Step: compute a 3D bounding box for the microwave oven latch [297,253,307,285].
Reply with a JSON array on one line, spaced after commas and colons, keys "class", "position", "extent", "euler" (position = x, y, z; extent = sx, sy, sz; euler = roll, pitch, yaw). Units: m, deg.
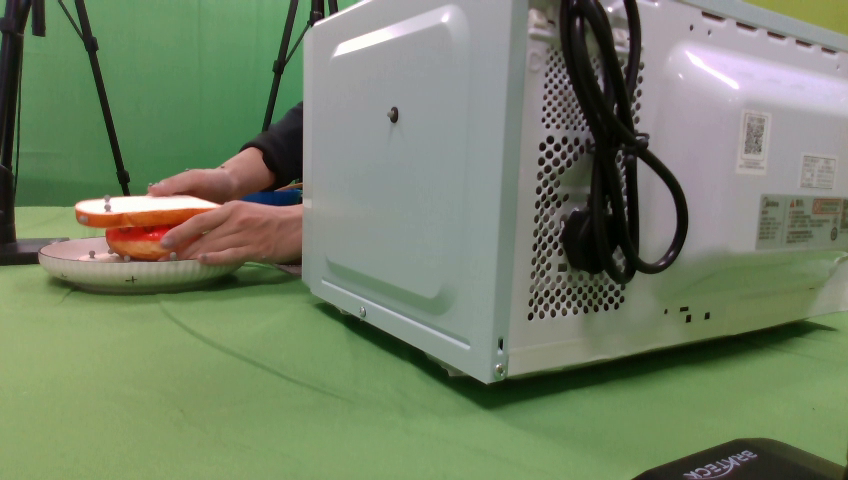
[{"class": "microwave oven latch", "position": [-0.082, 0.027, 0.582], "extent": [0.079, 0.029, 0.030], "euler": [-1, 7, -32]}]

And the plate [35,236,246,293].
[{"class": "plate", "position": [-0.305, 0.025, 0.669], "extent": [0.208, 0.039, 0.207], "euler": [2, 7, 0]}]

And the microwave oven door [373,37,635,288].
[{"class": "microwave oven door", "position": [0.110, -0.080, 0.686], "extent": [0.358, 0.243, 0.039], "euler": [-2, 8, -33]}]

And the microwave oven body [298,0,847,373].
[{"class": "microwave oven body", "position": [0.151, -0.055, 0.542], "extent": [0.444, 0.260, 0.324], "euler": [-2, 7, -33]}]

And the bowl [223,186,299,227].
[{"class": "bowl", "position": [-0.330, -0.068, 1.231], "extent": [0.151, 0.077, 0.151], "euler": [3, 7, 0]}]

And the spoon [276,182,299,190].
[{"class": "spoon", "position": [-0.300, -0.102, 1.266], "extent": [0.194, 0.021, 0.041], "euler": [-23, 12, -24]}]

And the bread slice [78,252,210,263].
[{"class": "bread slice", "position": [-0.302, 0.027, 0.662], "extent": [0.104, 0.019, 0.132], "euler": [9, 10, 44]}]

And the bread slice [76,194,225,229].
[{"class": "bread slice", "position": [-0.300, -0.032, 0.658], "extent": [0.106, 0.018, 0.135], "euler": [13, 16, 42]}]

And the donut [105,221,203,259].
[{"class": "donut", "position": [-0.297, -0.003, 0.668], "extent": [0.099, 0.048, 0.099], "euler": [5, 1, 0]}]
